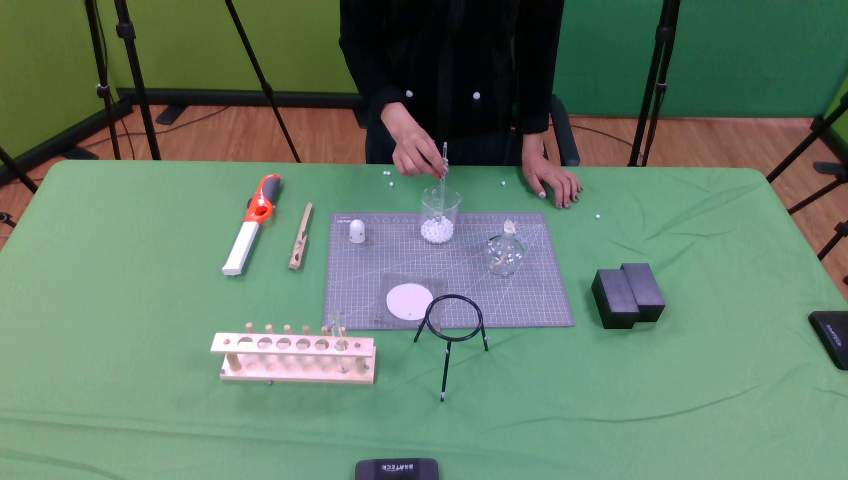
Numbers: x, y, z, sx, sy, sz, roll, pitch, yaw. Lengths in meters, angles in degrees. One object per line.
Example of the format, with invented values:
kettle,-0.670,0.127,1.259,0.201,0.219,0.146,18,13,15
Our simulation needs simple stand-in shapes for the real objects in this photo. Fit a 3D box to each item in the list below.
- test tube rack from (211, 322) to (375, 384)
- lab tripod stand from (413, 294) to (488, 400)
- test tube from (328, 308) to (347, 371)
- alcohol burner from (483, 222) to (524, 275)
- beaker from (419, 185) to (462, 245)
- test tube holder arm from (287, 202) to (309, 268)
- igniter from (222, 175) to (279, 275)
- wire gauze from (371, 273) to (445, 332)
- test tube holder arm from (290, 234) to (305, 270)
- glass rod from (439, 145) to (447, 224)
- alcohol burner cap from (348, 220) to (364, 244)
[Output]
test tube rack,-0.202,0.176,0.969,0.242,0.085,0.066,3,46,-2
lab tripod stand,0.045,0.159,0.972,0.148,0.132,0.147,2,44,-2
test tube,-0.132,0.155,0.926,0.017,0.151,0.017,0,45,0
alcohol burner,0.152,0.010,1.136,0.078,0.119,0.077,4,46,-4
beaker,0.029,-0.047,1.191,0.084,0.101,0.073,-5,47,-10
test tube holder arm,-0.246,-0.013,1.193,0.013,0.015,0.177,29,39,-26
igniter,-0.341,-0.039,1.206,0.057,0.025,0.275,-1,45,9
wire gauze,-0.028,0.109,1.100,0.125,0.011,0.121,7,45,4
test tube holder arm,-0.243,0.021,1.164,0.010,0.015,0.087,29,39,-25
glass rod,0.036,-0.102,1.164,0.008,0.201,0.008,1,46,-1
alcohol burner cap,-0.134,-0.019,1.190,0.034,0.048,0.033,2,46,-2
